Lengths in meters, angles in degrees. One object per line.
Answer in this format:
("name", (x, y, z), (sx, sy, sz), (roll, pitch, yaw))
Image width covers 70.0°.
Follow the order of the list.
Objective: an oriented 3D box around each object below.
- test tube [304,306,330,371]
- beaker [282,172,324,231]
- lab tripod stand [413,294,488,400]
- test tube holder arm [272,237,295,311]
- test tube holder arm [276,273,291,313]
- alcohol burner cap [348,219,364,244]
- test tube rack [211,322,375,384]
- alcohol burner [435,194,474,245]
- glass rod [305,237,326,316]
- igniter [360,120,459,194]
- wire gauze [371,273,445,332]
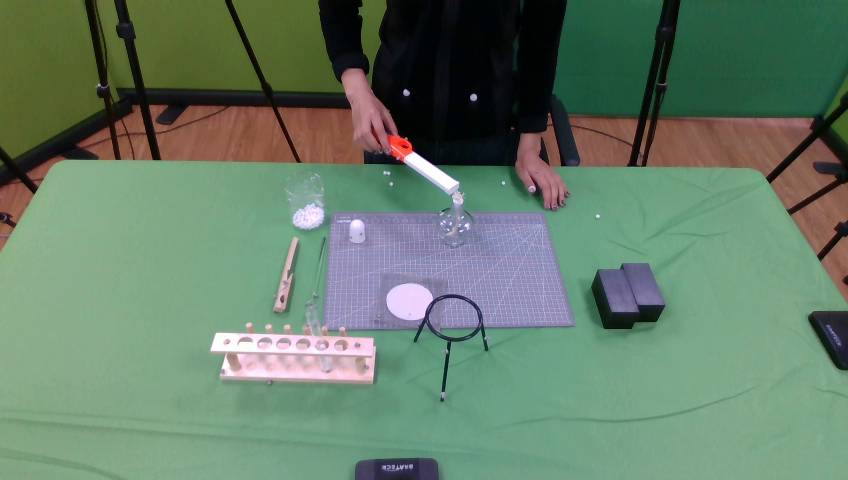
("test tube", (-0.162, 0.153, 0.925), (0.017, 0.151, 0.017), (-2, 44, 2))
("beaker", (-0.234, -0.073, 1.199), (0.084, 0.101, 0.074), (24, 50, 17))
("lab tripod stand", (0.044, 0.159, 0.972), (0.148, 0.132, 0.147), (2, 44, -2))
("test tube holder arm", (-0.258, 0.059, 1.123), (0.013, 0.015, 0.177), (27, 39, -25))
("test tube holder arm", (-0.253, 0.093, 1.094), (0.010, 0.015, 0.087), (27, 39, -25))
("alcohol burner cap", (-0.134, -0.019, 1.190), (0.034, 0.048, 0.033), (2, 45, -2))
("test tube rack", (-0.203, 0.176, 0.969), (0.242, 0.085, 0.066), (3, 46, -2))
("alcohol burner", (0.061, -0.046, 1.183), (0.078, 0.119, 0.077), (3, 47, -3))
("glass rod", (-0.202, 0.064, 1.131), (0.008, 0.008, 0.198), (3, 44, 0))
("igniter", (-0.038, -0.172, 1.221), (0.057, 0.025, 0.275), (-34, 56, -29))
("wire gauze", (-0.028, 0.108, 1.100), (0.125, 0.011, 0.121), (7, 45, 4))
